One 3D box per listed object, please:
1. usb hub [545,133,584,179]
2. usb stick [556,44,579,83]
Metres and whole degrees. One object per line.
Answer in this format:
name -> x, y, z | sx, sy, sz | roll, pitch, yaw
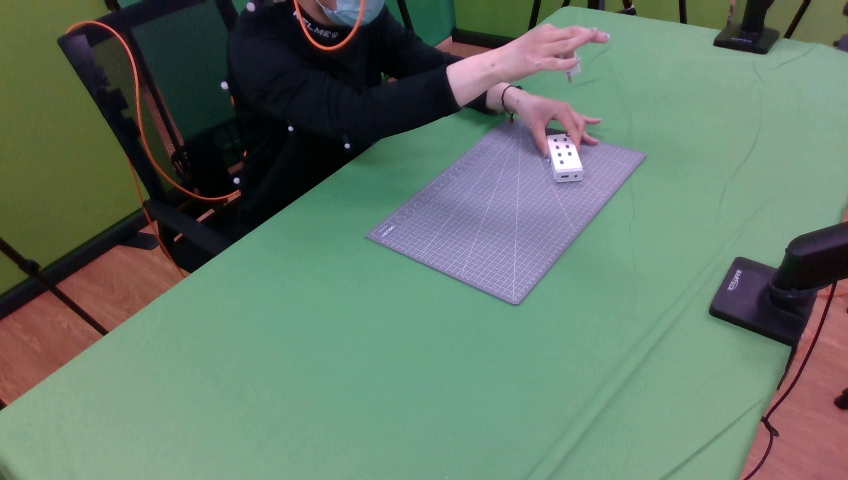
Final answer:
usb hub -> 0.256, -0.154, 1.101 | 0.049, 0.025, 0.124 | 1, 40, -1
usb stick -> 0.237, -0.287, 0.988 | 0.027, 0.059, 0.021 | -16, 31, 10
